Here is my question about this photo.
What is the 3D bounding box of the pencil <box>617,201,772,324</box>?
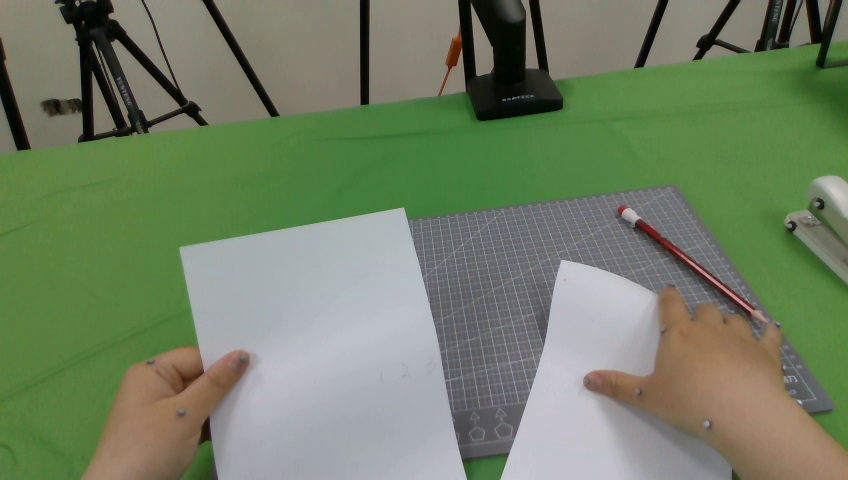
[{"bbox_3d":[0.241,0.015,0.556,0.012,0.012,0.192,-20,40,-14],"label":"pencil"}]

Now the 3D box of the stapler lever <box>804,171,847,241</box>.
[{"bbox_3d":[0.377,-0.017,0.526,0.027,0.040,0.117,-13,40,-2],"label":"stapler lever"}]

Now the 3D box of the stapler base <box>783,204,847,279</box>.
[{"bbox_3d":[0.379,0.002,0.544,0.041,0.025,0.129,-13,40,-2],"label":"stapler base"}]
